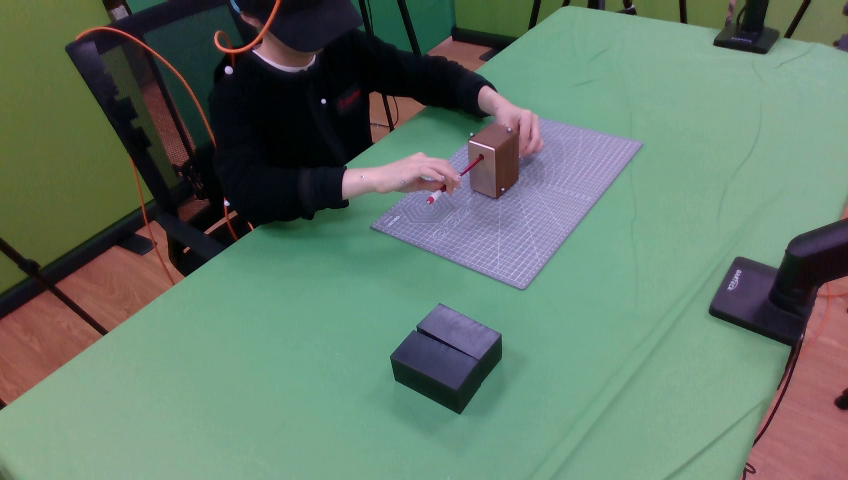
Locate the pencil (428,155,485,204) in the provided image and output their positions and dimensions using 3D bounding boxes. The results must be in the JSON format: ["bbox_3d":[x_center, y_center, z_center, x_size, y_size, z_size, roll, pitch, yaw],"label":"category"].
[{"bbox_3d":[0.070,-0.112,0.989,0.012,0.012,0.194,25,51,32],"label":"pencil"}]

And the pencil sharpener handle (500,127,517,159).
[{"bbox_3d":[0.155,-0.177,1.071,0.036,0.068,0.031,32,53,25],"label":"pencil sharpener handle"}]

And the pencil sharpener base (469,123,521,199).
[{"bbox_3d":[0.126,-0.138,1.050,0.061,0.107,0.077,24,50,33],"label":"pencil sharpener base"}]
